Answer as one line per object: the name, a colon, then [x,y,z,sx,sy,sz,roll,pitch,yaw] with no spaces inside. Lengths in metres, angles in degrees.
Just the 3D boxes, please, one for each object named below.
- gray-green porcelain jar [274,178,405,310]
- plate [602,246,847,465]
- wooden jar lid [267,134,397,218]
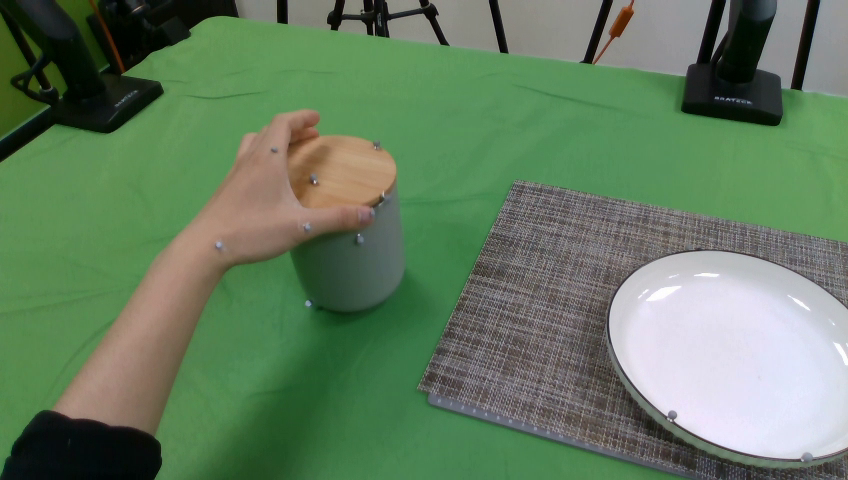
gray-green porcelain jar: [-0.073,-0.006,0.560,0.106,0.128,0.105,-2,44,2]
plate: [0.251,0.090,0.497,0.207,0.039,0.205,-2,44,2]
wooden jar lid: [-0.077,-0.054,0.513,0.108,0.021,0.107,2,42,-2]
